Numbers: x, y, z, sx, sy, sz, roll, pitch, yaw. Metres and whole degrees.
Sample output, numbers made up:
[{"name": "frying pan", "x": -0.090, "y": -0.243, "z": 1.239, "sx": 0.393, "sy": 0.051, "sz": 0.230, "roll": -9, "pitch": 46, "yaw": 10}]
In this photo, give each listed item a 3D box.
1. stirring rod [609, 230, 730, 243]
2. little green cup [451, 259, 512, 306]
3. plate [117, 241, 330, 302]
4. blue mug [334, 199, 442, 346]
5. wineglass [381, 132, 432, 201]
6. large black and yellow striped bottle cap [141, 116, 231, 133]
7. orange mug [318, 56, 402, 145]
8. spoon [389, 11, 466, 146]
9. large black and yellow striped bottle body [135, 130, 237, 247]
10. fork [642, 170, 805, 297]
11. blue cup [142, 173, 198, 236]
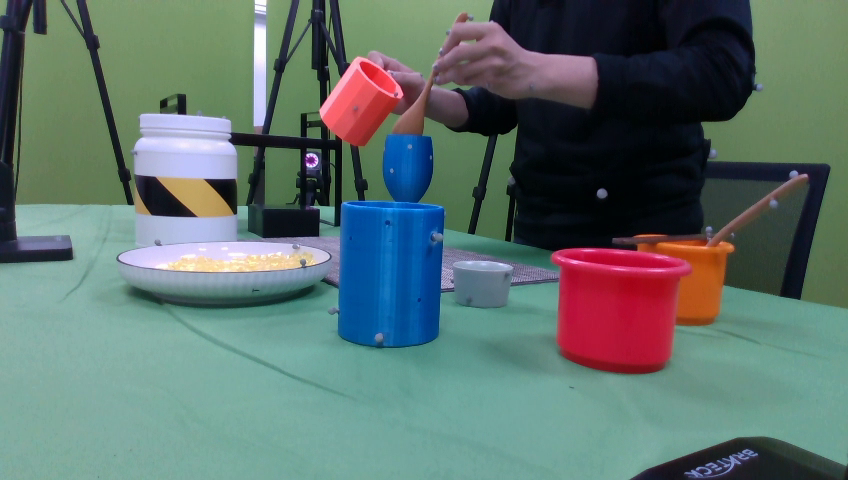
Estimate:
[{"name": "stirring rod", "x": 0.241, "y": -0.004, "z": 0.582, "sx": 0.177, "sy": 0.006, "sz": 0.014, "roll": -4, "pitch": 10, "yaw": -33}, {"name": "little green cup", "x": 0.057, "y": 0.043, "z": 0.612, "sx": 0.061, "sy": 0.038, "sz": 0.061, "roll": 3, "pitch": 8, "yaw": 0}, {"name": "plate", "x": -0.203, "y": 0.031, "z": 0.630, "sx": 0.209, "sy": 0.038, "sz": 0.209, "roll": 3, "pitch": 7, "yaw": 0}, {"name": "blue mug", "x": -0.034, "y": 0.020, "z": 0.498, "sx": 0.083, "sy": 0.106, "sz": 0.116, "roll": 0, "pitch": 7, "yaw": -19}, {"name": "wineglass", "x": -0.026, "y": -0.062, "z": 0.841, "sx": 0.074, "sy": 0.172, "sz": 0.073, "roll": 2, "pitch": 7, "yaw": 0}, {"name": "large black and yellow striped bottle cap", "x": -0.324, "y": -0.157, "z": 0.826, "sx": 0.115, "sy": 0.019, "sz": 0.115, "roll": 1, "pitch": 7, "yaw": 0}, {"name": "orange mug", "x": -0.092, "y": -0.214, "z": 0.908, "sx": 0.083, "sy": 0.100, "sz": 0.126, "roll": 38, "pitch": 31, "yaw": -10}, {"name": "spoon", "x": 0.005, "y": -0.205, "z": 0.783, "sx": 0.042, "sy": 0.193, "sz": 0.021, "roll": 24, "pitch": 23, "yaw": -8}, {"name": "large black and yellow striped bottle body", "x": -0.327, "y": -0.074, "z": 0.838, "sx": 0.131, "sy": 0.184, "sz": 0.130, "roll": 2, "pitch": 7, "yaw": 0}, {"name": "fork", "x": 0.261, "y": 0.004, "z": 0.545, "sx": 0.028, "sy": 0.018, "sz": 0.207, "roll": 5, "pitch": -37, "yaw": -16}, {"name": "blue cup", "x": -0.425, "y": -0.060, "z": 1.014, "sx": 0.093, "sy": 0.100, "sz": 0.092, "roll": 4, "pitch": 9, "yaw": 0}]
